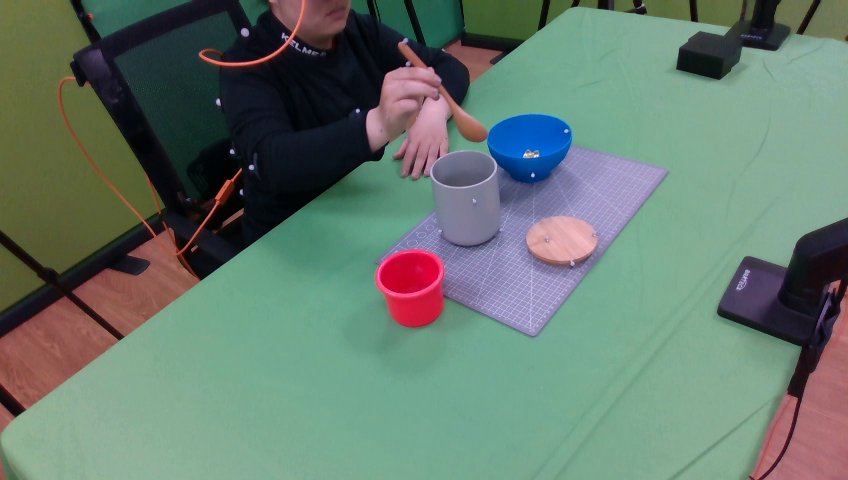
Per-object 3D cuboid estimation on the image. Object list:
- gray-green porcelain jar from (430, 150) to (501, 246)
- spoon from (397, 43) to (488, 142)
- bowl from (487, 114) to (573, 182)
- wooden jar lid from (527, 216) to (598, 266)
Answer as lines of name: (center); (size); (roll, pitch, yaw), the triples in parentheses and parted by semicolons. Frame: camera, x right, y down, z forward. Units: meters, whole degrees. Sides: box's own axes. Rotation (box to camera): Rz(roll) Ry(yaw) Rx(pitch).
gray-green porcelain jar: (0.069, -0.062, 0.959); (0.106, 0.127, 0.105); (-5, 40, 5)
spoon: (0.026, -0.212, 0.887); (0.041, 0.195, 0.021); (-22, 30, 44)
bowl: (0.190, -0.156, 1.085); (0.151, 0.077, 0.150); (-5, 40, 5)
wooden jar lid: (0.214, 0.003, 0.937); (0.108, 0.021, 0.108); (-4, 40, 4)
